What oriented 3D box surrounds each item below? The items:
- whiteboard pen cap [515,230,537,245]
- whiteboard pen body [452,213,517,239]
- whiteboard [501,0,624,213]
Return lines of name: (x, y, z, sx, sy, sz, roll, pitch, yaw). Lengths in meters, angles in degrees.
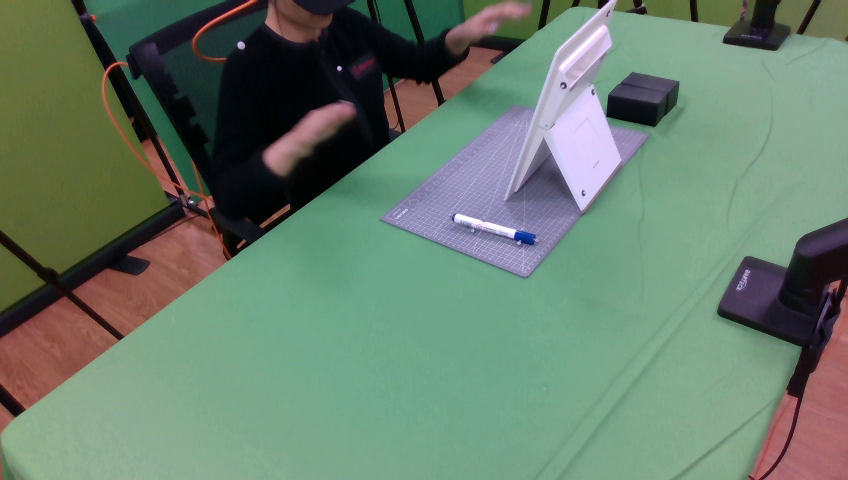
whiteboard pen cap: (0.160, -0.005, 0.956, 0.033, 0.018, 0.018, 17, 47, 26)
whiteboard pen body: (0.109, -0.020, 0.979, 0.140, 0.017, 0.017, 17, 47, 25)
whiteboard: (0.271, -0.189, 0.977, 0.143, 0.306, 0.218, 34, 53, 16)
